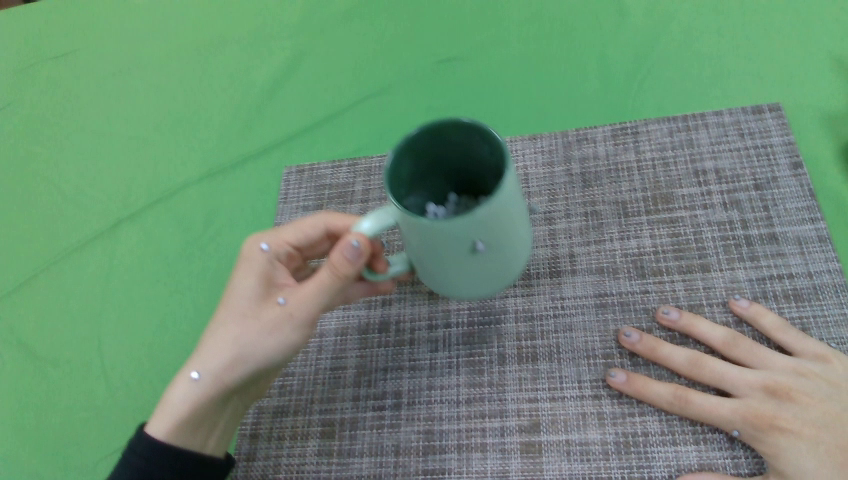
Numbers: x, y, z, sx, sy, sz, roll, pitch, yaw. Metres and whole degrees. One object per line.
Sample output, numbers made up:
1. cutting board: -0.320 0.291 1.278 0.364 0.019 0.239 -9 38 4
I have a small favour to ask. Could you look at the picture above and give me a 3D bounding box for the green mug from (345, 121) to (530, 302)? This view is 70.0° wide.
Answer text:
1. green mug: 0.008 -0.008 0.407 0.125 0.106 0.091 -27 58 -2
